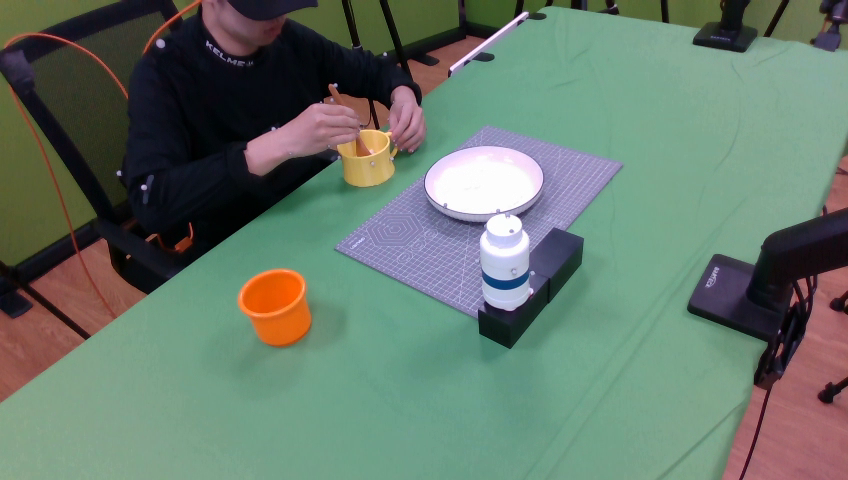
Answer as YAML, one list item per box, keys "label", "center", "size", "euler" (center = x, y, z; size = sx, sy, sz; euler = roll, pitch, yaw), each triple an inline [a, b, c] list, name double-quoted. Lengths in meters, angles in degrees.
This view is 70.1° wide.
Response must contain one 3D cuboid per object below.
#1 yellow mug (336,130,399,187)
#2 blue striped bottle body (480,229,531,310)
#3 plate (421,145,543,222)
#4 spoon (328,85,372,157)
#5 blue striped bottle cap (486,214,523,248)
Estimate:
- label: "yellow mug"
  center: [-0.098, -0.162, 1.139]
  size: [0.131, 0.064, 0.099]
  euler: [-34, 47, -28]
- label: "blue striped bottle body"
  center: [0.104, 0.027, 0.769]
  size: [0.063, 0.121, 0.063]
  euler: [-4, 40, 4]
- label: "plate"
  center: [0.101, -0.094, 1.048]
  size: [0.207, 0.039, 0.206]
  euler: [-4, 41, 4]
- label: "spoon"
  center: [-0.129, -0.199, 1.083]
  size: [0.041, 0.195, 0.021]
  euler: [9, 51, 31]
- label: "blue striped bottle cap"
  center: [0.098, -0.011, 0.735]
  size: [0.044, 0.021, 0.044]
  euler: [-3, 38, 3]
